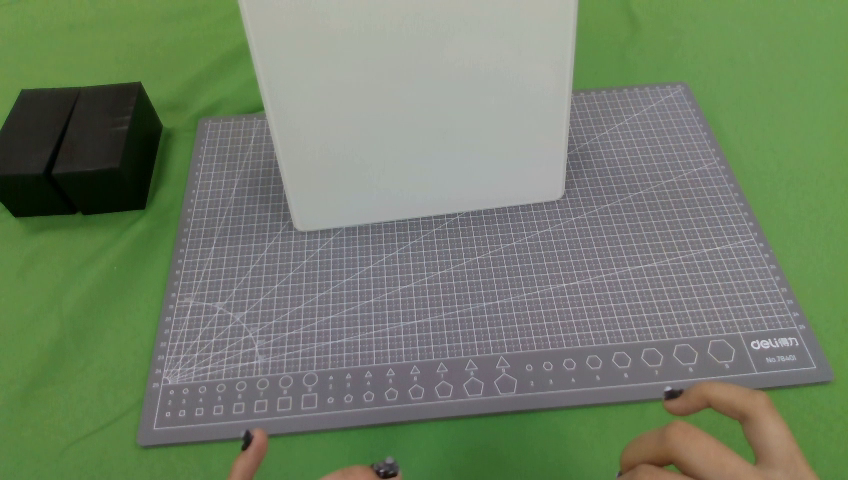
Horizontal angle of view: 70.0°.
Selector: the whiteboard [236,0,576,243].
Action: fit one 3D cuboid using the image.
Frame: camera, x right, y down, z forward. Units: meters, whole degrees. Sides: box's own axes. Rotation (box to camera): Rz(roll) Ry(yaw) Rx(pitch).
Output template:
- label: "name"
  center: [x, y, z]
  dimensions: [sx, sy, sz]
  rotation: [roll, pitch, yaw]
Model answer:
- label: "whiteboard"
  center: [-0.012, -0.175, 0.446]
  dimensions: [0.217, 0.308, 0.142]
  rotation: [-7, 34, -2]
